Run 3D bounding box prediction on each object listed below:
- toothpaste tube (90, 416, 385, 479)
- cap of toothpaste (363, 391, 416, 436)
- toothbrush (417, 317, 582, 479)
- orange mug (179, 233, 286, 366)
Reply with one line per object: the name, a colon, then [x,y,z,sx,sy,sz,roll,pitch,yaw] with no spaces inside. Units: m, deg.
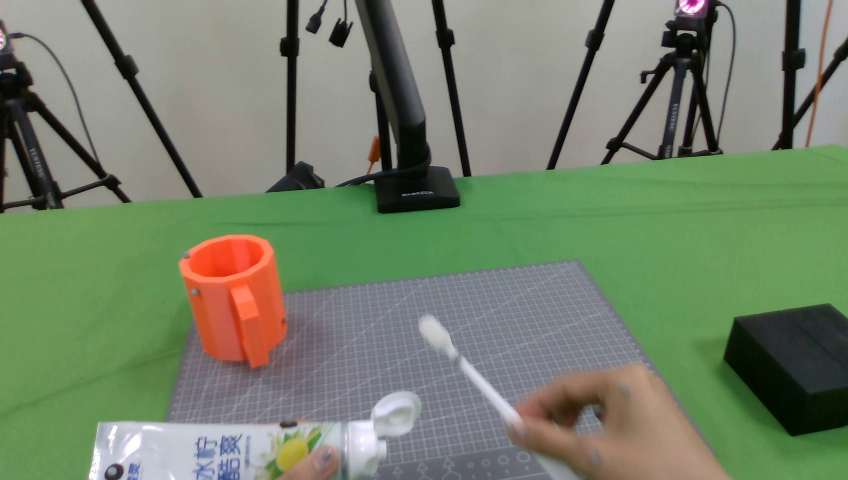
toothpaste tube: [-0.105,0.123,0.353,0.165,0.035,0.054,-1,53,-11]
cap of toothpaste: [-0.021,0.112,0.386,0.037,0.037,0.011,-13,33,-17]
toothbrush: [0.058,0.113,0.361,0.014,0.017,0.181,-41,77,-9]
orange mug: [-0.181,0.062,0.592,0.084,0.101,0.125,-16,30,-23]
